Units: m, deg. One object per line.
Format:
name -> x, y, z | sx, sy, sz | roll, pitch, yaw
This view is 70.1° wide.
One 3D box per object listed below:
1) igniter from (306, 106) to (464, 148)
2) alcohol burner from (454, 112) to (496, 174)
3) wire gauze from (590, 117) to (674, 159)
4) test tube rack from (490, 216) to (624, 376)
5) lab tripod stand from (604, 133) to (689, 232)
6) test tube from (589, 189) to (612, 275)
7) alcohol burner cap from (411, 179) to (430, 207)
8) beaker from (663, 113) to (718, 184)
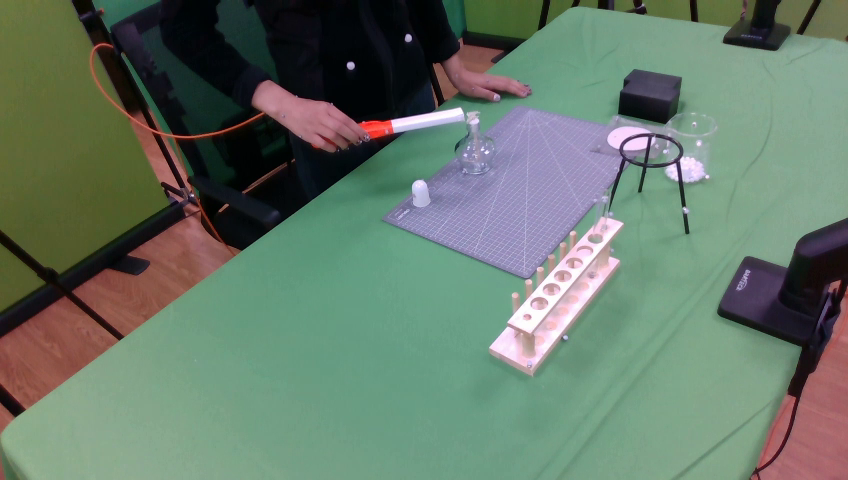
igniter -> -0.068, -0.198, 1.057 | 0.277, 0.025, 0.057 | -11, 35, -4
alcohol burner -> 0.092, -0.181, 1.102 | 0.078, 0.119, 0.077 | -5, 42, 5
wire gauze -> 0.393, -0.192, 1.139 | 0.120, 0.011, 0.125 | 19, 47, 28
test tube rack -> 0.184, 0.064, 0.822 | 0.066, 0.085, 0.243 | 24, 50, 33
lab tripod stand -> 0.347, -0.086, 0.932 | 0.148, 0.132, 0.147 | -4, 40, 4
test tube -> 0.238, -0.007, 0.818 | 0.017, 0.151, 0.017 | -3, 43, 4
alcohol burner cap -> -0.008, -0.085, 1.063 | 0.034, 0.048, 0.033 | -4, 40, 4
beaker -> 0.442, -0.151, 1.018 | 0.084, 0.101, 0.074 | -1, 40, 11
